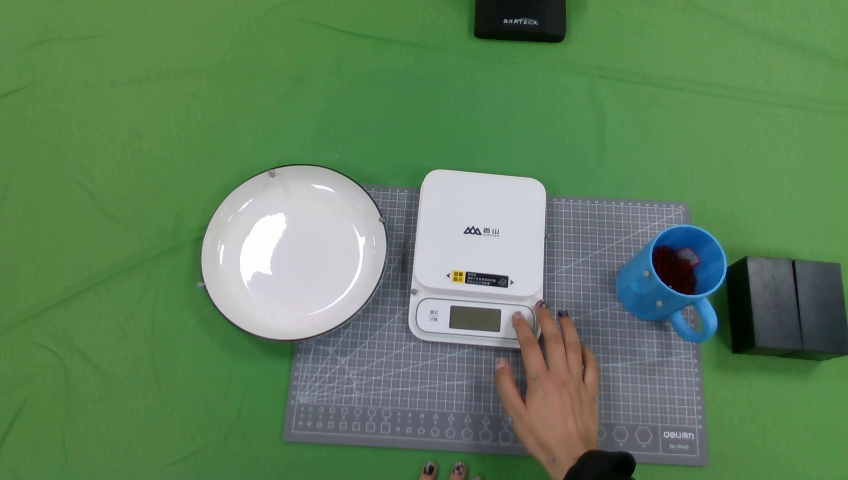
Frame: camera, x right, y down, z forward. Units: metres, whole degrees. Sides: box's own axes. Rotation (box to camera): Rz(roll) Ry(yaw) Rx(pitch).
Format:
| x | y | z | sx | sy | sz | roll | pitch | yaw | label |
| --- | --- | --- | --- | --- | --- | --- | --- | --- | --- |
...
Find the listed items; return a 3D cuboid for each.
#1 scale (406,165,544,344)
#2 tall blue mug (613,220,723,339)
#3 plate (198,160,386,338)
| x | y | z | sx | sy | sz | roll | pitch | yaw | label |
| --- | --- | --- | --- | --- | --- | --- | --- | --- | --- |
| 0.060 | 0.014 | 0.691 | 0.148 | 0.032 | 0.199 | 5 | 73 | 1 | scale |
| 0.267 | 0.043 | 0.644 | 0.107 | 0.108 | 0.077 | 39 | 75 | 11 | tall blue mug |
| -0.146 | 0.010 | 0.686 | 0.209 | 0.038 | 0.208 | 0 | 72 | 1 | plate |
